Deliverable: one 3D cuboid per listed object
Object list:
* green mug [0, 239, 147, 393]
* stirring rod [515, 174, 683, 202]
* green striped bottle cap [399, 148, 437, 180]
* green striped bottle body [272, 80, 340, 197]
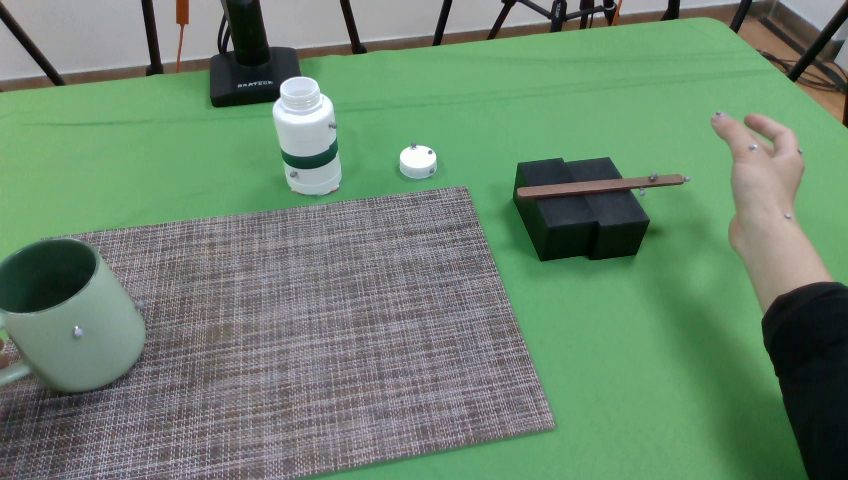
[{"bbox_3d":[-0.296,0.071,0.481,0.125,0.106,0.091,-35,56,-30],"label":"green mug"},{"bbox_3d":[0.179,-0.053,0.618,0.176,0.006,0.014,-7,54,-6],"label":"stirring rod"},{"bbox_3d":[-0.007,-0.089,0.709,0.044,0.020,0.044,0,42,0],"label":"green striped bottle cap"},{"bbox_3d":[-0.127,-0.110,0.655,0.063,0.120,0.062,1,46,0],"label":"green striped bottle body"}]
